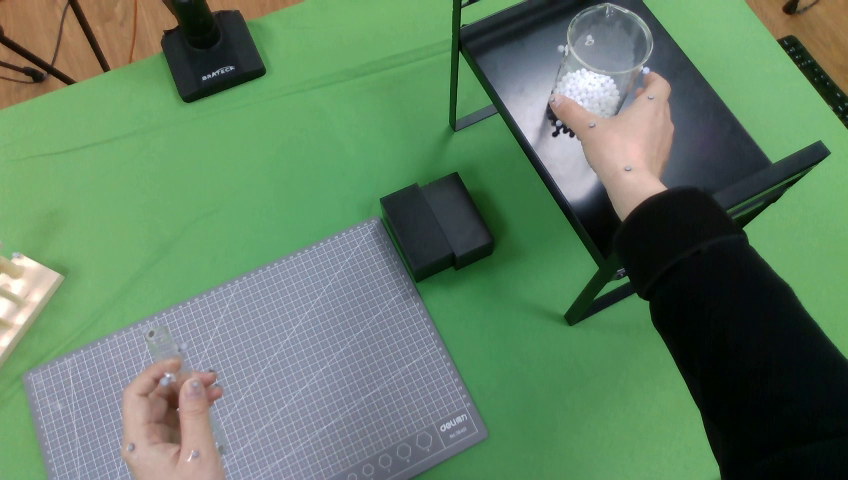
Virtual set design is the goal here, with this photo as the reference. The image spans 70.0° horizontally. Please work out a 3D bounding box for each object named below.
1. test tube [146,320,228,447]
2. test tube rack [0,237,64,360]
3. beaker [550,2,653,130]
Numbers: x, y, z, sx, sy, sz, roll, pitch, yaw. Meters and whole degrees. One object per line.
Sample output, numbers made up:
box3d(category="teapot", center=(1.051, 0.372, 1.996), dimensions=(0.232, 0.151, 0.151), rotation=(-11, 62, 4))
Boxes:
box3d(category="test tube", center=(-0.175, 0.114, 0.456), dimensions=(0.017, 0.151, 0.017), rotation=(-2, 43, 2))
box3d(category="test tube rack", center=(-0.522, 0.112, 0.668), dimensions=(0.066, 0.086, 0.241), rotation=(25, 71, 10))
box3d(category="beaker", center=(0.161, -0.159, 0.569), dimensions=(0.074, 0.101, 0.083), rotation=(6, 69, 2))
